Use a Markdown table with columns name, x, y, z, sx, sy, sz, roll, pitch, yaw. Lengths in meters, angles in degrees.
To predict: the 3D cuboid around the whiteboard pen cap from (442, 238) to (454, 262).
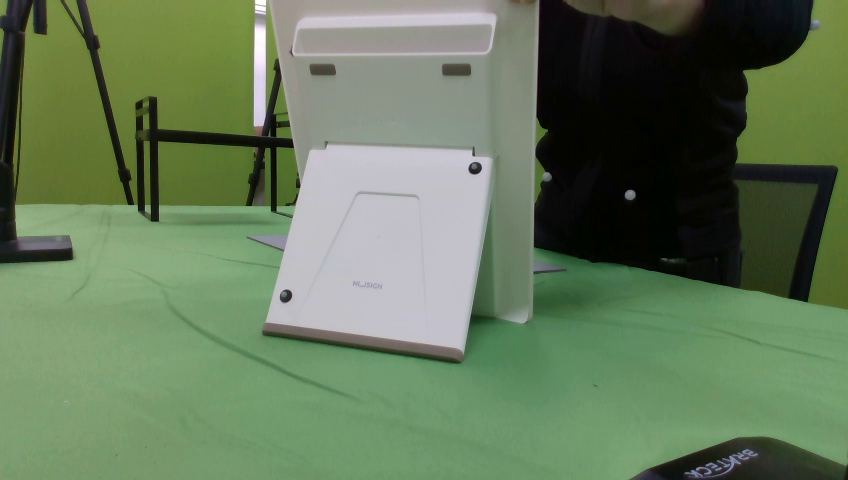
| name | x | y | z | sx | sy | sz | roll | pitch | yaw |
| --- | --- | --- | --- | --- | --- | --- | --- | --- | --- |
| whiteboard pen cap | 0.033 | 0.014 | 0.851 | 0.018 | 0.033 | 0.018 | 3 | 5 | 0 |

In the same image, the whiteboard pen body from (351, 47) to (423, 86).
| name | x | y | z | sx | sy | sz | roll | pitch | yaw |
| --- | --- | --- | --- | --- | --- | --- | --- | --- | --- |
| whiteboard pen body | -0.033 | -0.159 | 0.555 | 0.017 | 0.017 | 0.141 | 5 | 28 | 22 |

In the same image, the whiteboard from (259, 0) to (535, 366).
| name | x | y | z | sx | sy | sz | roll | pitch | yaw |
| --- | --- | --- | --- | --- | --- | --- | --- | --- | --- |
| whiteboard | -0.037 | -0.040 | 0.456 | 0.216 | 0.305 | 0.144 | 5 | 28 | 19 |
